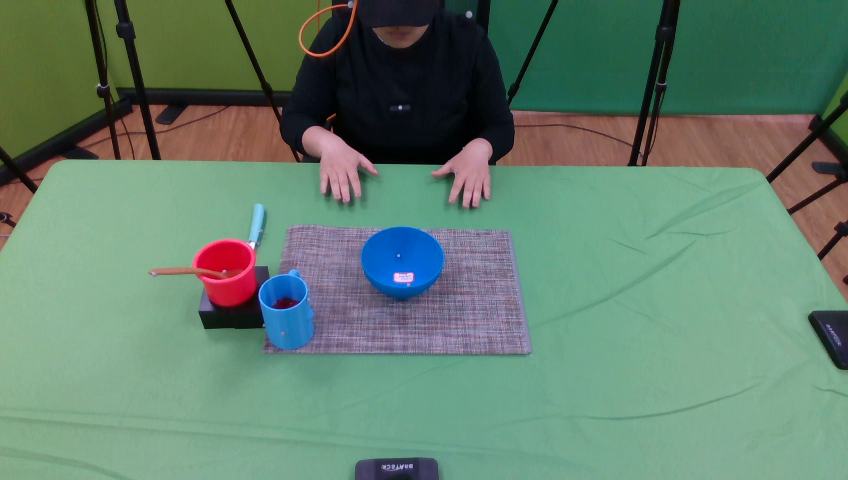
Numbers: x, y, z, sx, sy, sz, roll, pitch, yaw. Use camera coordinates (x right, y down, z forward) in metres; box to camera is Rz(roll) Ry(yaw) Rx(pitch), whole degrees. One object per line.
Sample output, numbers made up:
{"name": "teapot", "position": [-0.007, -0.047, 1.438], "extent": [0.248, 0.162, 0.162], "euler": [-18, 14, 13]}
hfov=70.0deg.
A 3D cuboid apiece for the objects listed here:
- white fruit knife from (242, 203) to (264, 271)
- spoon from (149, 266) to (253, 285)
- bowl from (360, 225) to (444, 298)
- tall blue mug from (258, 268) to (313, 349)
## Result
{"name": "white fruit knife", "position": [-0.334, 0.000, 1.178], "extent": [0.027, 0.016, 0.206], "euler": [-18, 46, 16]}
{"name": "spoon", "position": [-0.351, 0.052, 0.968], "extent": [0.041, 0.021, 0.194], "euler": [41, 12, 28]}
{"name": "bowl", "position": [-0.040, 0.053, 1.099], "extent": [0.151, 0.077, 0.150], "euler": [2, 46, -2]}
{"name": "tall blue mug", "position": [-0.232, 0.108, 1.010], "extent": [0.078, 0.108, 0.106], "euler": [-15, 49, -17]}
